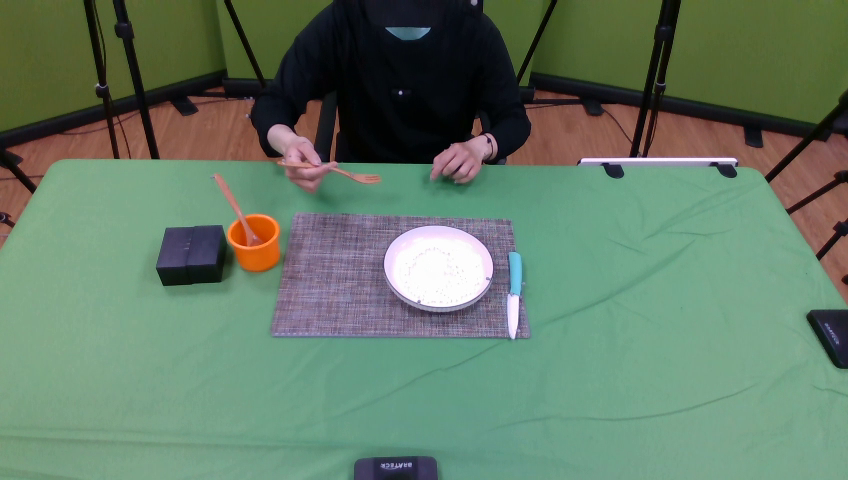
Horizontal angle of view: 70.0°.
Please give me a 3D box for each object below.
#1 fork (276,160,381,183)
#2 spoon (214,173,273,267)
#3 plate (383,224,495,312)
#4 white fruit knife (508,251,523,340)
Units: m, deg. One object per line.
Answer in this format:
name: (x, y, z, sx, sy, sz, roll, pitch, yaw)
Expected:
fork: (-0.179, -0.132, 1.158, 0.208, 0.019, 0.028, 9, 42, -28)
spoon: (-0.336, -0.037, 1.121, 0.041, 0.194, 0.021, -29, 10, -25)
plate: (0.026, 0.055, 1.128, 0.209, 0.038, 0.208, 2, 46, -2)
white fruit knife: (0.169, 0.098, 1.113, 0.027, 0.016, 0.206, -13, 43, 23)
